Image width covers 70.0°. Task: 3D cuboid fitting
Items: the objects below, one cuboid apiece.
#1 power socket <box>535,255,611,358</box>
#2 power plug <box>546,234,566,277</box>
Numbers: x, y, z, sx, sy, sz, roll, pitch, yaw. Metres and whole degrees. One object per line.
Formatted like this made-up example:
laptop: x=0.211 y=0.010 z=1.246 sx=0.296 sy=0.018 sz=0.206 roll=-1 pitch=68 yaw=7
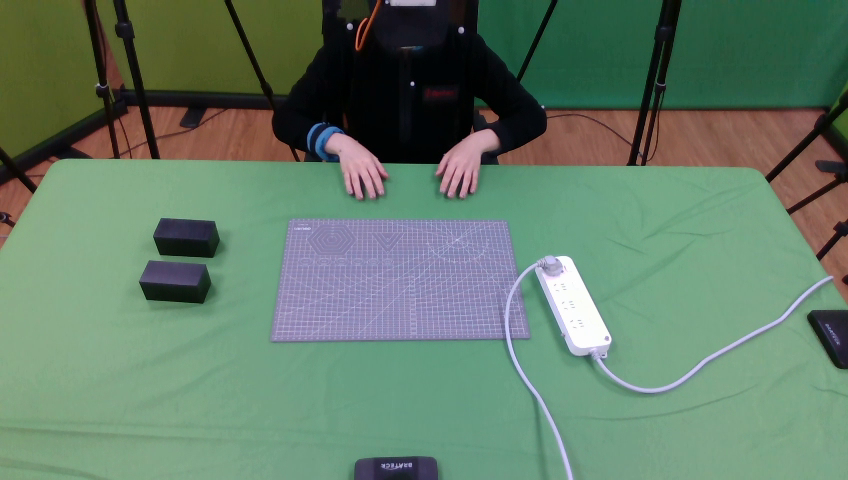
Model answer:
power socket: x=0.266 y=0.114 z=1.098 sx=0.072 sy=0.033 sz=0.225 roll=-7 pitch=47 yaw=-9
power plug: x=0.241 y=0.031 z=1.107 sx=0.035 sy=0.073 sz=0.052 roll=-1 pitch=31 yaw=11
